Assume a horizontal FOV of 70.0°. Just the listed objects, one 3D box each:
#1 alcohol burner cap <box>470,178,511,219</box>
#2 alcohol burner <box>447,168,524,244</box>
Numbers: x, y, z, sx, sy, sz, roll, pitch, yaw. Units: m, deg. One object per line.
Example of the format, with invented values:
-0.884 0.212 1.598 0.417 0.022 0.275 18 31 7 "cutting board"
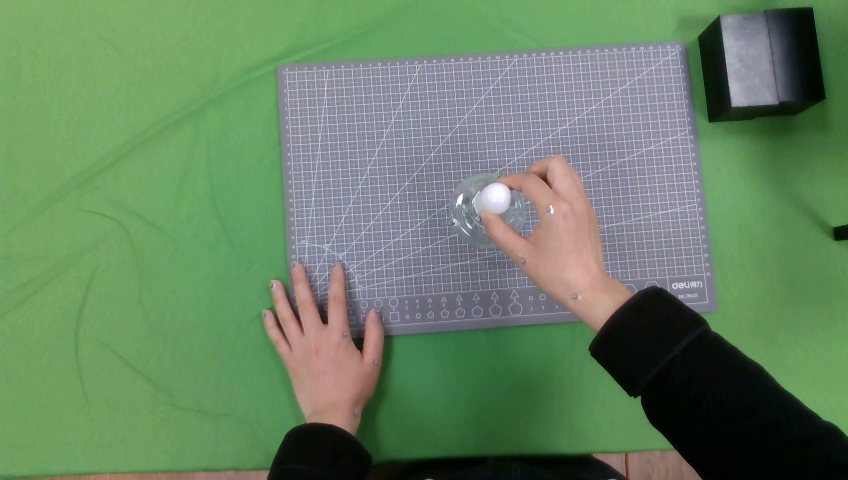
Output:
0.062 -0.040 0.544 0.034 0.048 0.033 1 79 -7 "alcohol burner cap"
0.061 -0.036 0.591 0.078 0.119 0.077 0 85 0 "alcohol burner"
